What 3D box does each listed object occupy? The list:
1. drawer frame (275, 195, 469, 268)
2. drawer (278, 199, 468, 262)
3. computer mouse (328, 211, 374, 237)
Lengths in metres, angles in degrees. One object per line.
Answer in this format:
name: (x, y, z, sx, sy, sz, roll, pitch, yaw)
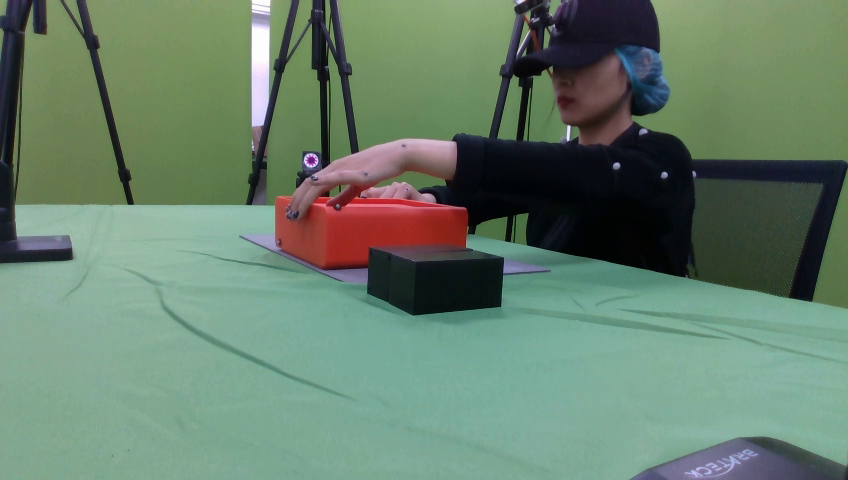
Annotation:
drawer frame: (-0.078, -0.019, 0.859, 0.215, 0.082, 0.200, -3, 9, -32)
drawer: (-0.076, -0.018, 0.860, 0.213, 0.073, 0.193, -2, 9, -31)
computer mouse: (-0.131, -0.030, 1.113, 0.063, 0.041, 0.117, 5, 11, 7)
